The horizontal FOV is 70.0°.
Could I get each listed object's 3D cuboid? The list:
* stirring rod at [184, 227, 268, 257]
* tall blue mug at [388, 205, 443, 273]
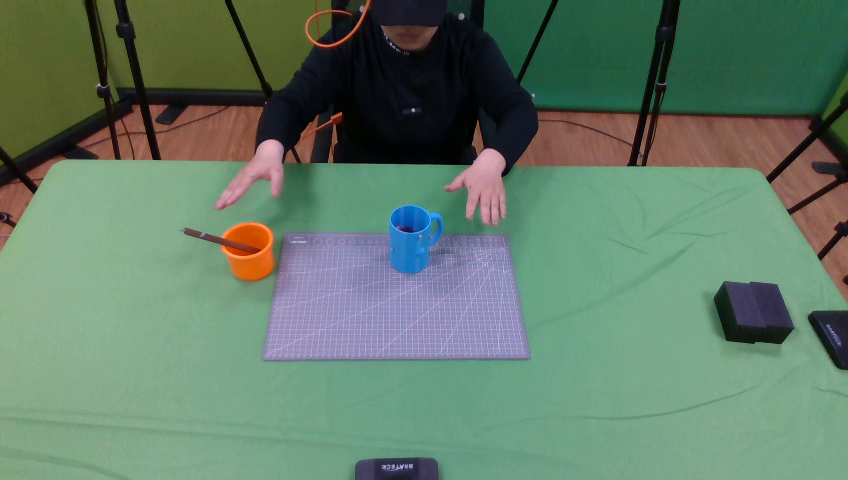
[{"bbox_3d":[-0.350,0.005,1.084,0.177,0.006,0.014,23,32,-50],"label":"stirring rod"},{"bbox_3d":[-0.021,-0.010,1.143,0.077,0.108,0.107,23,49,18],"label":"tall blue mug"}]
